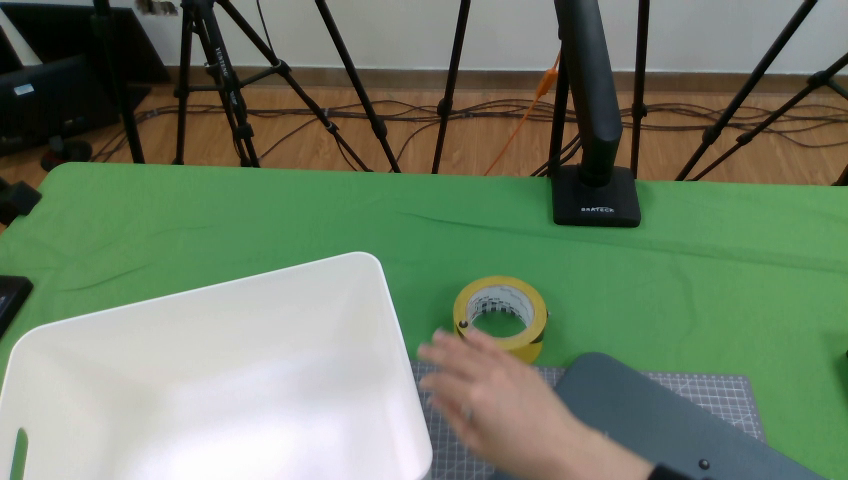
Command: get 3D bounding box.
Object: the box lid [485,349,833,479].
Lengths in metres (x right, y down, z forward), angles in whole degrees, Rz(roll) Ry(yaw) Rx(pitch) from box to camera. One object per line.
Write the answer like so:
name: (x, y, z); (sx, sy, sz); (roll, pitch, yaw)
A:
box lid: (0.257, 0.283, 0.587); (0.368, 0.015, 0.262); (29, 57, 25)

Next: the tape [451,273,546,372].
tape: (0.088, 0.098, 0.731); (0.117, 0.053, 0.115); (-1, 46, 1)

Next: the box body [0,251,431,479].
box body: (-0.189, 0.188, 0.594); (0.364, 0.162, 0.251); (-14, 50, -8)
